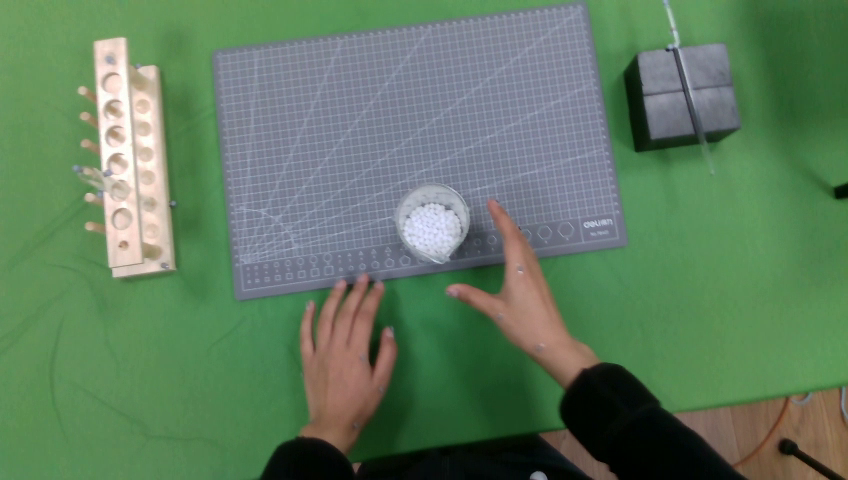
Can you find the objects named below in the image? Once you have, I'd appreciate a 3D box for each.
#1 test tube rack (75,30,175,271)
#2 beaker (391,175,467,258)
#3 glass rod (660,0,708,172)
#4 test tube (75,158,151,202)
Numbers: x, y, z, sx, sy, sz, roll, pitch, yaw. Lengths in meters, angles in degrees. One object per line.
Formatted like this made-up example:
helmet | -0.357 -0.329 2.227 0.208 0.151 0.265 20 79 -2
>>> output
test tube rack | -0.333 -0.092 0.662 0.067 0.085 0.241 -8 83 -1
beaker | 0.007 -0.017 0.644 0.074 0.100 0.083 -13 83 -1
glass rod | 0.284 -0.170 0.662 0.008 0.008 0.199 -11 84 -1
test tube | -0.307 -0.057 0.608 0.017 0.150 0.017 1 84 -5
